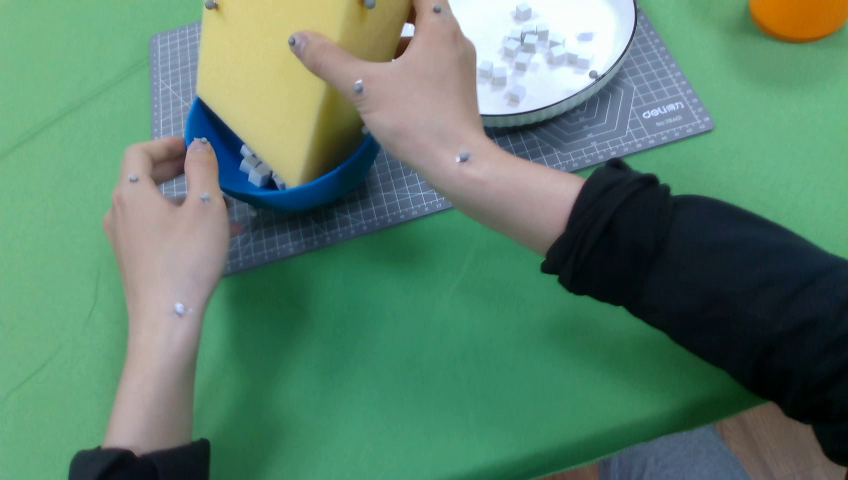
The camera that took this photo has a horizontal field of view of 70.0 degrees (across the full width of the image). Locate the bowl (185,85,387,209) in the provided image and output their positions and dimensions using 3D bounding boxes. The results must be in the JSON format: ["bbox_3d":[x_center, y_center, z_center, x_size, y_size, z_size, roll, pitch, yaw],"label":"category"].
[{"bbox_3d":[-0.095,-0.078,0.469,0.151,0.077,0.150,-5,61,9],"label":"bowl"}]

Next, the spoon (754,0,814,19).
[{"bbox_3d":[0.334,-0.239,0.441,0.022,0.194,0.041,2,56,-40],"label":"spoon"}]

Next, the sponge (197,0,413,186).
[{"bbox_3d":[-0.077,-0.149,0.387,0.117,0.208,0.061,42,45,16],"label":"sponge"}]

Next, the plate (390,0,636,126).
[{"bbox_3d":[0.069,-0.177,0.515,0.209,0.038,0.207,-4,63,8],"label":"plate"}]
